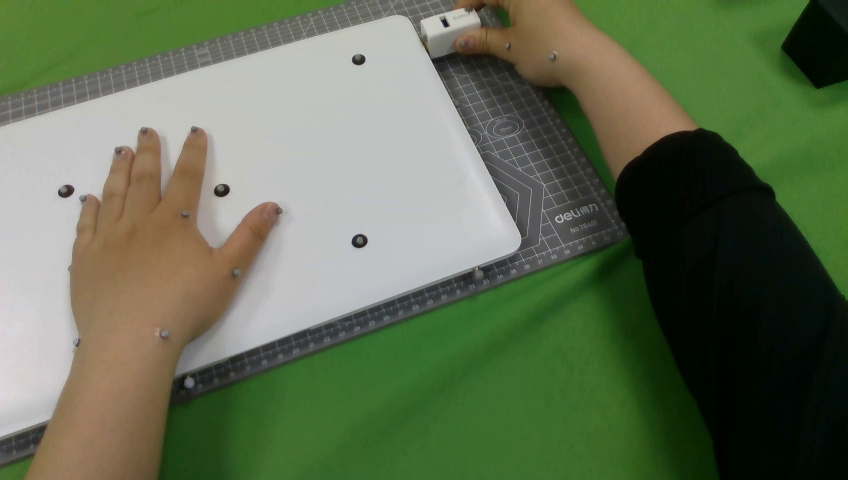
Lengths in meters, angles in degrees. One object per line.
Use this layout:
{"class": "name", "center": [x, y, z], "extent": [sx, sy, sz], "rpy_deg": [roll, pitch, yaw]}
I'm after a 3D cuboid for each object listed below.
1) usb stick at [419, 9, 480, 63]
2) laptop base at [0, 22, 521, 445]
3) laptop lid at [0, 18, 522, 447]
{"class": "usb stick", "center": [0.014, -0.161, 0.483], "extent": [0.059, 0.027, 0.021], "rpy_deg": [-21, 56, -2]}
{"class": "laptop base", "center": [-0.137, -0.027, 0.429], "extent": [0.355, 0.023, 0.233], "rpy_deg": [-19, 66, -9]}
{"class": "laptop lid", "center": [-0.137, -0.030, 0.419], "extent": [0.357, 0.013, 0.239], "rpy_deg": [-18, 65, -8]}
